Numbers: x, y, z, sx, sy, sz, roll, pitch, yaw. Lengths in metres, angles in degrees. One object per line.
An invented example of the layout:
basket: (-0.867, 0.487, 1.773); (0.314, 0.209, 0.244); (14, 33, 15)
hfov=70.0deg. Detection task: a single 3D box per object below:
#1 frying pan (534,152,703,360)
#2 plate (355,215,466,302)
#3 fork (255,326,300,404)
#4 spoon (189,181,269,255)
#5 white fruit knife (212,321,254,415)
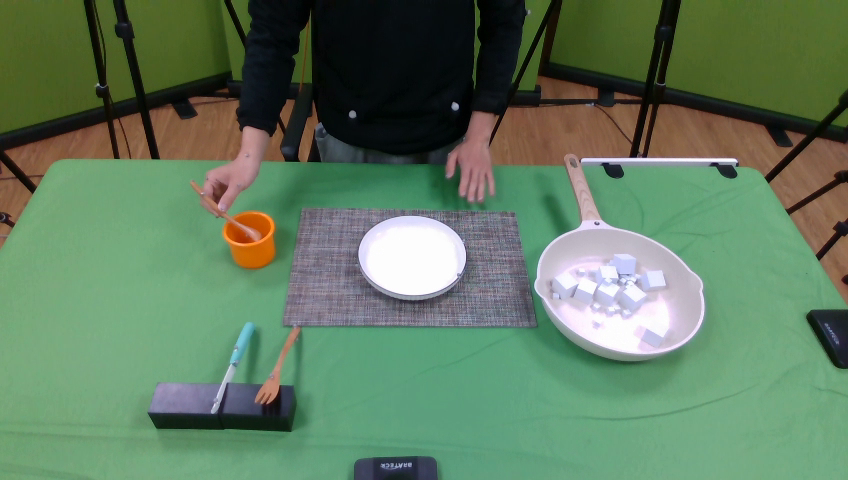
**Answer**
frying pan: (0.335, 0.013, 1.154); (0.307, 0.103, 0.484); (-1, 55, -7)
plate: (-0.025, 0.038, 1.143); (0.208, 0.039, 0.206); (3, 46, -2)
fork: (-0.226, 0.192, 0.955); (0.028, 0.019, 0.206); (-1, 27, 4)
spoon: (-0.353, -0.039, 1.104); (0.021, 0.195, 0.041); (-37, 30, 19)
white fruit knife: (-0.298, 0.193, 0.947); (0.016, 0.027, 0.206); (1, 31, -1)
